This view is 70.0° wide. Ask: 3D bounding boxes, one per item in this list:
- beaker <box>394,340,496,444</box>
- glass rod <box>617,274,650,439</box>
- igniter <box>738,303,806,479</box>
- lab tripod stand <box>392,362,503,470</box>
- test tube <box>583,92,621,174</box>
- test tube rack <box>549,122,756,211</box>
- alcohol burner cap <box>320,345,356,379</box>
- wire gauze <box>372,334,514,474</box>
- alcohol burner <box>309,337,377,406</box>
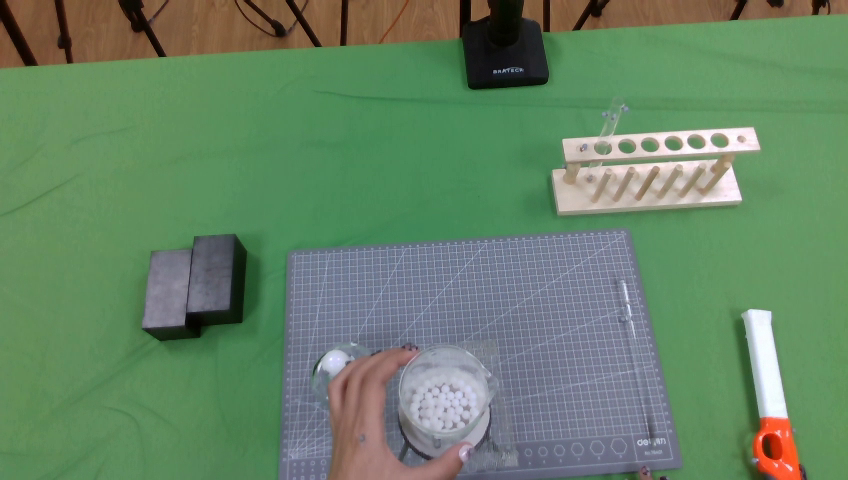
[{"bbox_3d":[0.018,0.137,0.534,0.084,0.101,0.073,-8,65,-3],"label":"beaker"},{"bbox_3d":[0.250,0.135,0.725,0.008,0.008,0.198,-3,68,-1],"label":"glass rod"},{"bbox_3d":[0.392,0.205,0.685,0.057,0.025,0.274,7,66,-7],"label":"igniter"},{"bbox_3d":[0.018,0.185,0.638,0.148,0.132,0.147,-1,65,2],"label":"lab tripod stand"},{"bbox_3d":[0.218,-0.128,0.751,0.017,0.151,0.017,-1,62,2],"label":"test tube"},{"bbox_3d":[0.294,-0.094,0.789,0.242,0.086,0.066,-4,65,-1],"label":"test tube rack"},{"bbox_3d":[-0.092,0.127,0.636,0.034,0.048,0.033,-2,70,6],"label":"alcohol burner cap"},{"bbox_3d":[0.016,0.154,0.579,0.125,0.011,0.120,-7,64,0],"label":"wire gauze"},{"bbox_3d":[-0.092,0.141,0.670,0.078,0.120,0.077,0,63,1],"label":"alcohol burner"}]
